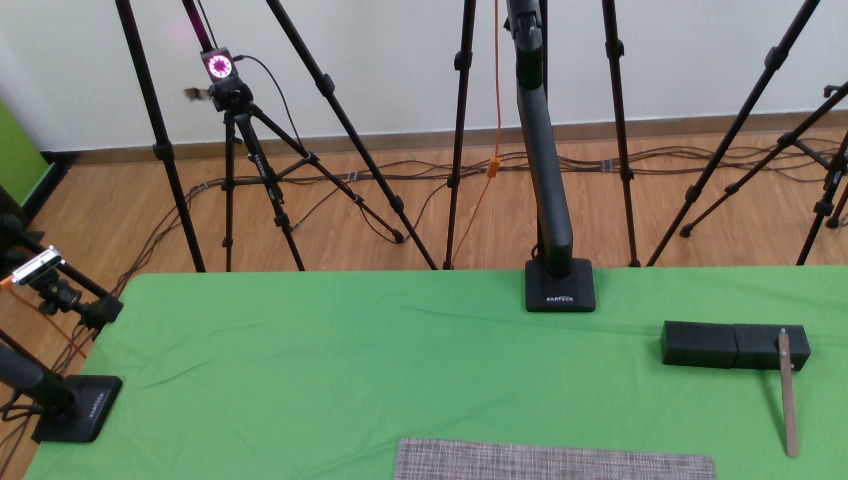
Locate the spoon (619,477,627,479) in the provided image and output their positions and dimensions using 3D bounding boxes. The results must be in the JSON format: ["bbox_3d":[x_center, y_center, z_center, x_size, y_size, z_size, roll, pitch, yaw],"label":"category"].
[{"bbox_3d":[0.177,0.358,0.742,0.194,0.022,0.041,-41,56,-1],"label":"spoon"}]

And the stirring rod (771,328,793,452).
[{"bbox_3d":[0.517,0.213,0.874,0.014,0.006,0.175,4,69,9],"label":"stirring rod"}]
